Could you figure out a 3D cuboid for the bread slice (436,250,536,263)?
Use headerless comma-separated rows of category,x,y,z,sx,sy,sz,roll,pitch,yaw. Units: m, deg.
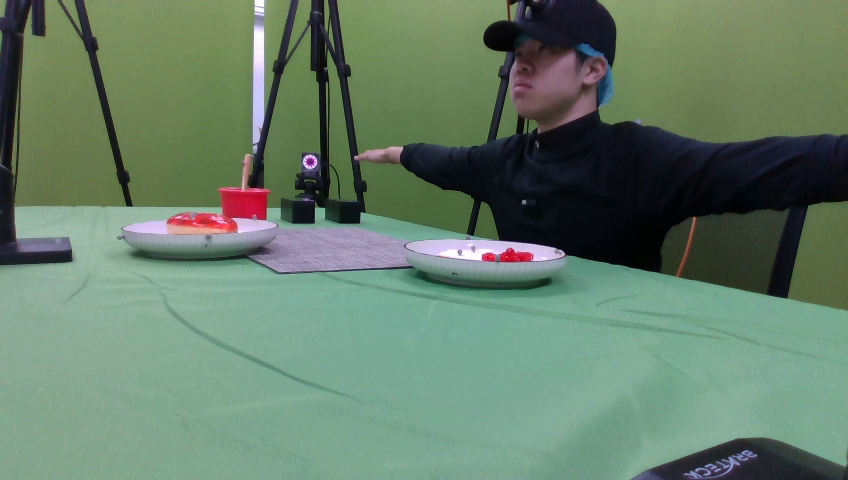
bread slice,0.078,0.031,0.774,0.105,0.019,0.131,-4,11,-44

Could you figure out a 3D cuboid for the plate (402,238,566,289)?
plate,0.074,0.029,0.772,0.209,0.038,0.209,3,7,0

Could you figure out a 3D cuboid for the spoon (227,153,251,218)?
spoon,-0.363,-0.107,1.211,0.042,0.021,0.193,-1,47,-7

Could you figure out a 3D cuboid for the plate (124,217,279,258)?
plate,-0.315,-0.004,0.871,0.208,0.039,0.207,1,8,0

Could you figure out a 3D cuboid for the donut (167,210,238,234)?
donut,-0.321,-0.017,0.882,0.099,0.048,0.099,3,6,0
